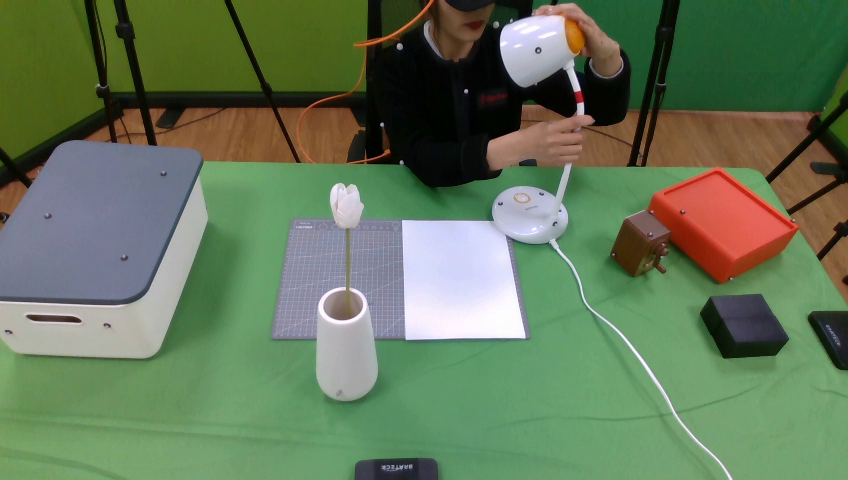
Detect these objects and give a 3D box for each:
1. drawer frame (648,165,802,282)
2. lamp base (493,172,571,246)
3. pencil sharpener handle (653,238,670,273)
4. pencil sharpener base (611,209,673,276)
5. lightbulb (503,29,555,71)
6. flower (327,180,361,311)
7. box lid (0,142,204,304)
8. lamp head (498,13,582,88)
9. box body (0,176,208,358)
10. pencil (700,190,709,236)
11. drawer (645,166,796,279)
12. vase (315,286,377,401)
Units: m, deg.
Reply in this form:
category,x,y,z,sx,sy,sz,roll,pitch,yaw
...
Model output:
category,x,y,z,sx,sy,sz,roll,pitch,yaw
drawer frame,0.603,-0.040,1.233,0.202,0.083,0.212,-21,51,-23
lamp base,0.235,-0.098,1.195,0.161,0.181,0.178,-24,58,-24
pencil sharpener handle,0.444,0.030,1.120,0.036,0.068,0.030,-25,52,-18
pencil sharpener base,0.416,0.007,1.158,0.061,0.107,0.076,-21,51,-22
lightbulb,0.182,-0.330,1.041,0.060,0.107,0.059,9,75,-35
flower,-0.111,0.086,0.867,0.044,0.363,0.038,23,34,36
box lid,-0.534,-0.044,0.995,0.263,0.015,0.369,3,45,-3
lamp head,0.204,-0.326,1.025,0.122,0.113,0.112,-7,35,39
box body,-0.546,0.017,1.045,0.254,0.161,0.361,2,46,-2
pencil,0.583,-0.057,1.257,0.012,0.012,0.193,16,35,12
drawer,0.600,-0.040,1.237,0.195,0.073,0.210,-21,52,-23
vase,-0.119,0.159,0.911,0.098,0.201,0.097,2,47,-2
